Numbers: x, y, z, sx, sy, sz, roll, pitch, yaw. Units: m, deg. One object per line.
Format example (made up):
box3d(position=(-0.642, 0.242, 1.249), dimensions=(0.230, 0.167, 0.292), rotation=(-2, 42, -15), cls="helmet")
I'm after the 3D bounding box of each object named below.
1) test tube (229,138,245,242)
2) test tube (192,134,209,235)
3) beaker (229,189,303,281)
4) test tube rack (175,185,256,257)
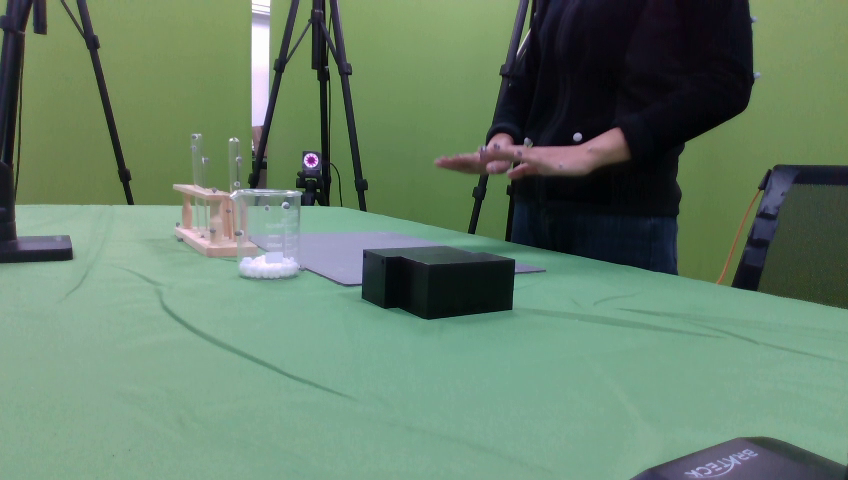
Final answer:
box3d(position=(-0.269, -0.071, 0.867), dimensions=(0.017, 0.150, 0.017), rotation=(0, 9, 0), cls="test tube")
box3d(position=(-0.332, -0.082, 0.898), dimensions=(0.017, 0.150, 0.017), rotation=(-2, 6, 0), cls="test tube")
box3d(position=(-0.181, -0.007, 0.695), dimensions=(0.084, 0.100, 0.073), rotation=(-4, 9, -36), cls="beaker")
box3d(position=(-0.324, -0.035, 0.922), dimensions=(0.067, 0.085, 0.241), rotation=(-2, 9, -31), cls="test tube rack")
